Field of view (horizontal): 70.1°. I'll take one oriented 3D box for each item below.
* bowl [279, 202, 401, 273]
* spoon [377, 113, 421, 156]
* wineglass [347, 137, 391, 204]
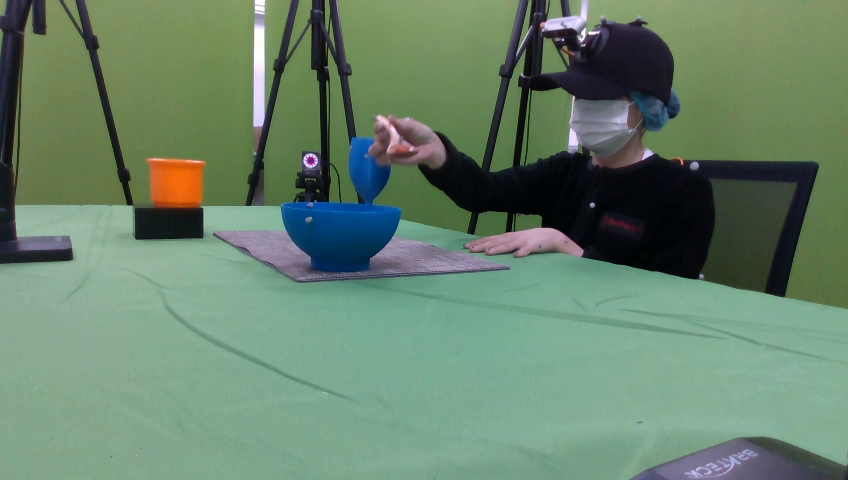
[{"bbox_3d":[-0.105,-0.003,0.756,0.151,0.077,0.151,3,7,0],"label":"bowl"},{"bbox_3d":[-0.042,-0.150,0.833,0.042,0.021,0.193,-6,30,-12],"label":"spoon"},{"bbox_3d":[-0.092,-0.081,0.998,0.074,0.172,0.073,3,7,0],"label":"wineglass"}]
